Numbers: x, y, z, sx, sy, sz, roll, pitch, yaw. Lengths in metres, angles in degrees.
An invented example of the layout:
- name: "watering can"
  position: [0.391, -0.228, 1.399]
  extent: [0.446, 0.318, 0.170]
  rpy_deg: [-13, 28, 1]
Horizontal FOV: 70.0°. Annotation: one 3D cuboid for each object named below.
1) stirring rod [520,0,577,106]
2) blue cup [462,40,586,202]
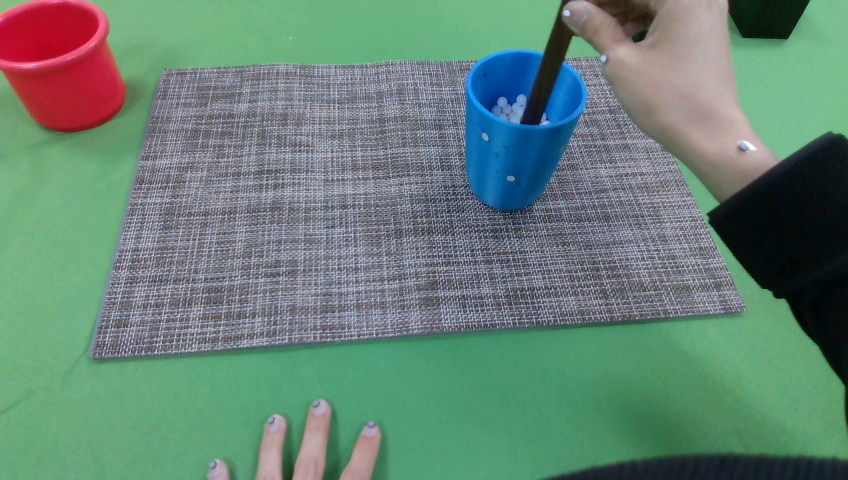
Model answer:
- name: "stirring rod"
  position: [0.077, -0.122, 0.374]
  extent: [0.014, 0.177, 0.006]
  rpy_deg: [15, 50, 1]
- name: "blue cup"
  position: [0.067, -0.082, 0.458]
  extent: [0.093, 0.101, 0.092]
  rpy_deg: [2, 54, -3]
